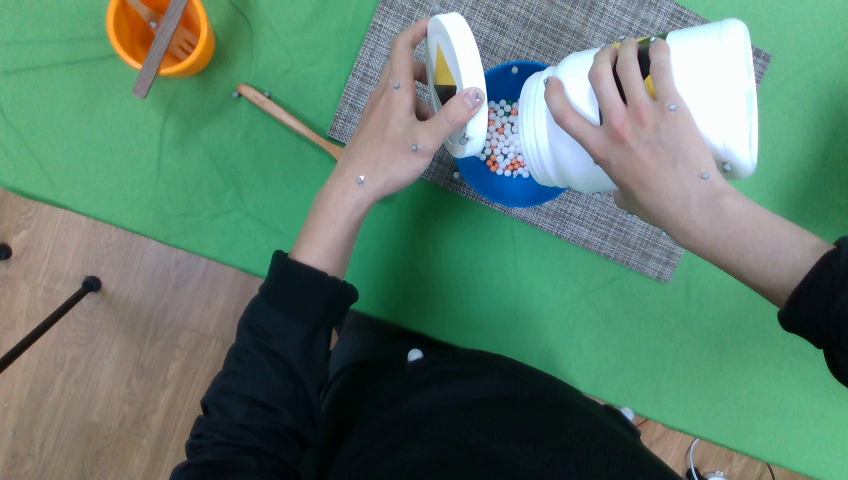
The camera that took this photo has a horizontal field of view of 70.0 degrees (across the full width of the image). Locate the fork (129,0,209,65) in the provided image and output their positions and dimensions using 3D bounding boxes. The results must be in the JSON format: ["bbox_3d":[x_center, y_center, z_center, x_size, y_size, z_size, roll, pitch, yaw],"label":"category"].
[{"bbox_3d":[-0.281,-0.234,0.556,0.028,0.018,0.209,-46,144,2],"label":"fork"}]

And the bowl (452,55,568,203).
[{"bbox_3d":[0.095,-0.117,0.659,0.152,0.076,0.151,-1,99,-7],"label":"bowl"}]

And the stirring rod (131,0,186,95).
[{"bbox_3d":[-0.232,-0.217,0.563,0.014,0.006,0.176,25,94,-12],"label":"stirring rod"}]

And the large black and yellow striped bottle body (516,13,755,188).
[{"bbox_3d":[0.187,-0.115,0.541,0.183,0.131,0.131,-3,101,32],"label":"large black and yellow striped bottle body"}]

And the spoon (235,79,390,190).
[{"bbox_3d":[-0.120,-0.118,0.661,0.194,0.021,0.042,33,106,-12],"label":"spoon"}]

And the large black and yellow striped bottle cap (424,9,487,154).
[{"bbox_3d":[0.023,-0.128,0.498,0.019,0.114,0.115,-13,99,-12],"label":"large black and yellow striped bottle cap"}]
